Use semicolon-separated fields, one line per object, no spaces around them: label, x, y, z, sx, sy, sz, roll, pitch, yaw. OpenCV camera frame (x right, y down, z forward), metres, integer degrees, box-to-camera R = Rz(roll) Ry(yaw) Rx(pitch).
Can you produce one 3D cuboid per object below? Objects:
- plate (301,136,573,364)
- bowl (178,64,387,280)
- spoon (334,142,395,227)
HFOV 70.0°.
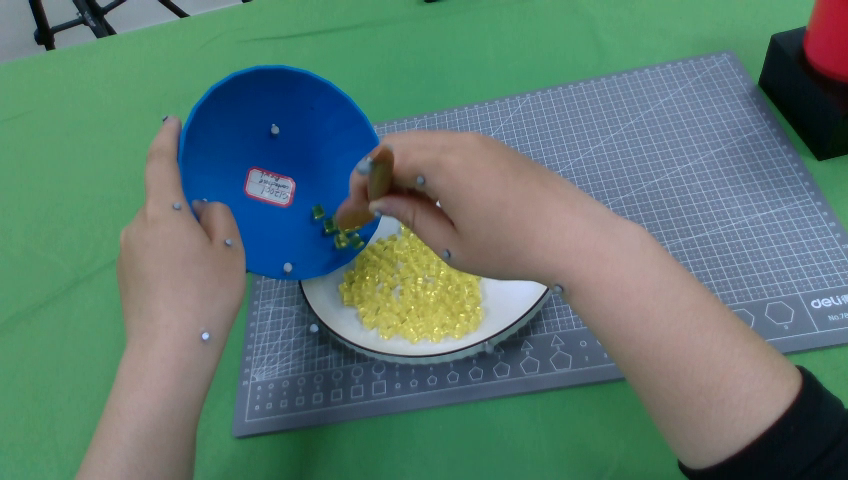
plate;0.009;0.005;0.469;0.207;0.039;0.205;-7;53;9
bowl;-0.111;-0.045;0.450;0.076;0.152;0.151;-6;42;56
spoon;-0.031;-0.028;0.350;0.041;0.193;0.021;-28;92;-11
